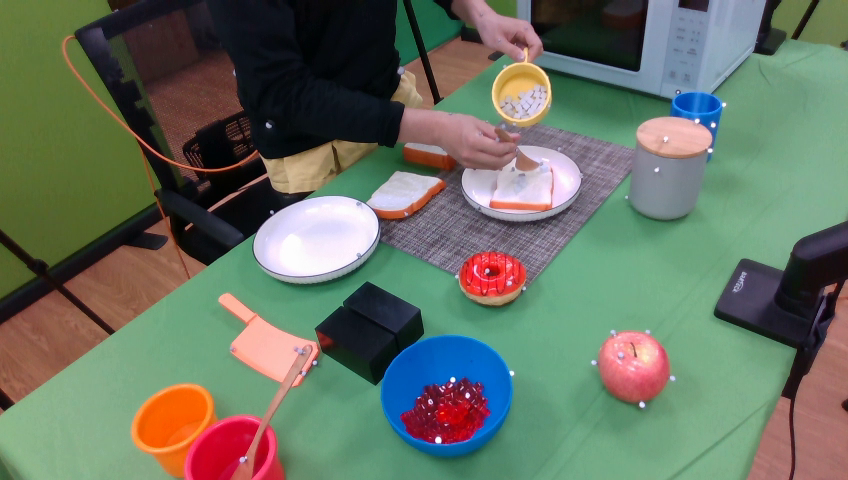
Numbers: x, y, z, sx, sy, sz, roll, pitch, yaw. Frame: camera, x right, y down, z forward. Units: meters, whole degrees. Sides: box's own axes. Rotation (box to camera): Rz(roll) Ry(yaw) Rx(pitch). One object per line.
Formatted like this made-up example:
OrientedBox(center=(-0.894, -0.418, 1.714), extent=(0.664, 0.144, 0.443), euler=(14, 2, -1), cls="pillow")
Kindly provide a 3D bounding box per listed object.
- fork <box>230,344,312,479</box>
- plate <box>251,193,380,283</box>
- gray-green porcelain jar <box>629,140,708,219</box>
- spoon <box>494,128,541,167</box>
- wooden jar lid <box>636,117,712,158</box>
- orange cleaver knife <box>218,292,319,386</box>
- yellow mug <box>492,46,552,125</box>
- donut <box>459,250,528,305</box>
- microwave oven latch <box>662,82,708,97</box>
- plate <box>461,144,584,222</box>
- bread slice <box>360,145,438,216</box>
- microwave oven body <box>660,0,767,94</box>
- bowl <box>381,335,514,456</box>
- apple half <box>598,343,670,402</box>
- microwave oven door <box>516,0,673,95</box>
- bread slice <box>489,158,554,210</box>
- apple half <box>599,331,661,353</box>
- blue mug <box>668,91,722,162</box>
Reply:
OrientedBox(center=(-0.173, 0.205, 0.662), extent=(0.028, 0.019, 0.207), euler=(29, 94, 36), cls="fork")
OrientedBox(center=(-0.174, -0.001, 0.985), extent=(0.209, 0.038, 0.208), euler=(-4, 41, 4), cls="plate")
OrientedBox(center=(0.383, -0.104, 0.958), extent=(0.106, 0.127, 0.105), euler=(-4, 41, 4), cls="gray-green porcelain jar")
OrientedBox(center=(0.143, -0.145, 0.947), extent=(0.041, 0.195, 0.021), euler=(-5, 77, 25), cls="spoon")
OrientedBox(center=(0.377, -0.151, 0.917), extent=(0.108, 0.021, 0.108), euler=(-2, 41, 2), cls="wooden jar lid")
OrientedBox(center=(-0.235, 0.136, 0.850), extent=(0.209, 0.012, 0.077), euler=(25, 56, 30), cls="orange cleaver knife")
OrientedBox(center=(0.172, -0.270, 1.052), extent=(0.099, 0.131, 0.064), euler=(5, 4, 12), cls="yellow mug")
OrientedBox(center=(0.100, 0.053, 0.873), extent=(0.099, 0.048, 0.098), euler=(-5, 40, 4), cls="donut")
OrientedBox(center=(0.518, -0.298, 1.203), extent=(0.078, 0.029, 0.030), euler=(28, 53, 35), cls="microwave oven latch")
OrientedBox(center=(0.168, -0.095, 1.040), extent=(0.207, 0.039, 0.206), euler=(-4, 40, 4), cls="plate")
OrientedBox(center=(-0.052, -0.103, 1.046), extent=(0.106, 0.018, 0.134), euler=(19, 67, 23), cls="bread slice")
OrientedBox(center=(0.473, -0.516, 1.313), extent=(0.438, 0.261, 0.327), euler=(26, 51, 34), cls="microwave oven body")
OrientedBox(center=(0.029, 0.192, 0.701), extent=(0.151, 0.077, 0.150), euler=(-4, 40, 4), cls="bowl")
OrientedBox(center=(0.247, 0.161, 0.710), extent=(0.081, 0.075, 0.053), euler=(2, 47, 5), cls="apple half")
OrientedBox(center=(0.344, -0.458, 1.257), extent=(0.353, 0.245, 0.039), euler=(26, 52, 33), cls="microwave oven door")
OrientedBox(center=(0.173, -0.100, 1.047), extent=(0.104, 0.019, 0.131), euler=(4, 43, 13), cls="bread slice")
OrientedBox(center=(0.249, 0.134, 0.738), extent=(0.081, 0.081, 0.032), euler=(-1, 46, 7), cls="apple half")
OrientedBox(center=(0.474, -0.207, 1.078), extent=(0.082, 0.106, 0.116), euler=(4, 42, 13), cls="blue mug")
